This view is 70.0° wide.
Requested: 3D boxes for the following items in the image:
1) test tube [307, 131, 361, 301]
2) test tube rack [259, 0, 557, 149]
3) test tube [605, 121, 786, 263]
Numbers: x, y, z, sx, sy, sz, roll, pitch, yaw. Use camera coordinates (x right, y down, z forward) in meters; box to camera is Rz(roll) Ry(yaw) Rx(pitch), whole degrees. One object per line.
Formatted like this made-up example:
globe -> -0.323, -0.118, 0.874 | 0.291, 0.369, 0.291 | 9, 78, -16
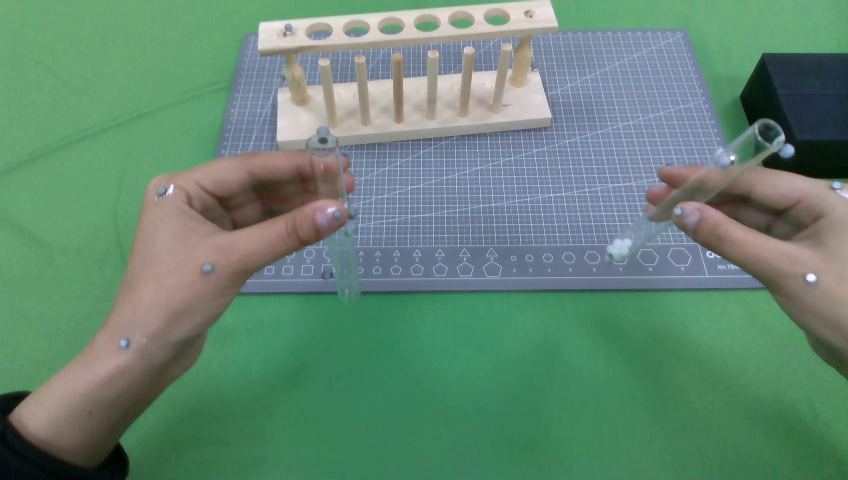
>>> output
test tube -> -0.048, -0.005, 0.338 | 0.017, 0.151, 0.017 | 1, 57, -1
test tube rack -> -0.011, -0.141, 0.522 | 0.242, 0.086, 0.066 | -6, 58, -3
test tube -> 0.142, -0.019, 0.340 | 0.017, 0.151, 0.017 | 5, 66, -11
